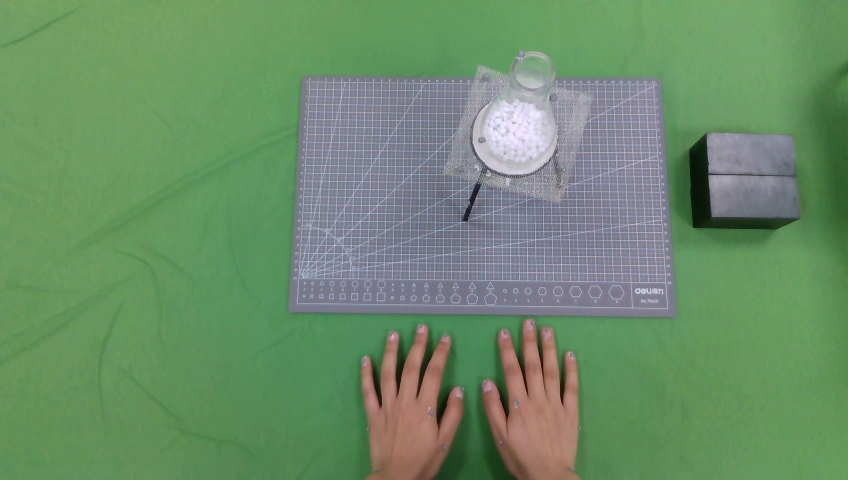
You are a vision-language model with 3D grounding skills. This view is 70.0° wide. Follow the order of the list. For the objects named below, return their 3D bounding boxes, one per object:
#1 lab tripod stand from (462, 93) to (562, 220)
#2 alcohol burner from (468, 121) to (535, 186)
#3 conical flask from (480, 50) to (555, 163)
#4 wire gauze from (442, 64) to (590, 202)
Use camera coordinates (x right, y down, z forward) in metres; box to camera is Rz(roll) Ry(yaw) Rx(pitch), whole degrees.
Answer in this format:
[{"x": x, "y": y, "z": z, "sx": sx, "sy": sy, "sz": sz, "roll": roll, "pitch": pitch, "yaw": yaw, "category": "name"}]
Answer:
[{"x": 0.089, "y": -0.096, "z": 0.672, "sx": 0.148, "sy": 0.132, "sz": 0.147, "roll": -1, "pitch": 77, "yaw": 3, "category": "lab tripod stand"}, {"x": 0.088, "y": -0.104, "z": 0.684, "sx": 0.078, "sy": 0.119, "sz": 0.077, "roll": 0, "pitch": 79, "yaw": 2, "category": "alcohol burner"}, {"x": 0.091, "y": -0.124, "z": 0.551, "sx": 0.075, "sy": 0.122, "sz": 0.075, "roll": 0, "pitch": 77, "yaw": 2, "category": "conical flask"}, {"x": 0.094, "y": -0.108, "z": 0.607, "sx": 0.121, "sy": 0.011, "sz": 0.124, "roll": 18, "pitch": 76, "yaw": 4, "category": "wire gauze"}]
